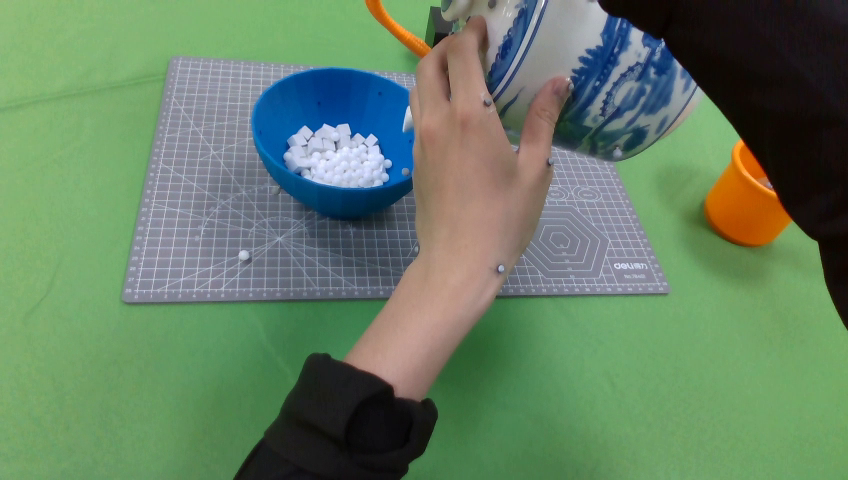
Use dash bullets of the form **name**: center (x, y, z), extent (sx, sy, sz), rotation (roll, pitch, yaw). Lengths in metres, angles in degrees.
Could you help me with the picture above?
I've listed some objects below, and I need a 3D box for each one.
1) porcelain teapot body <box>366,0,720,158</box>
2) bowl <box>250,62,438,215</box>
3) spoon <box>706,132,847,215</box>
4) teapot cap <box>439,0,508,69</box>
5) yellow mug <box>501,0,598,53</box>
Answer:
- **porcelain teapot body**: center (0.059, -0.133, 0.429), extent (0.227, 0.206, 0.144), rotation (11, 56, -21)
- **bowl**: center (-0.069, -0.074, 0.518), extent (0.152, 0.077, 0.150), rotation (6, 50, -7)
- **spoon**: center (0.367, -0.076, 0.576), extent (0.022, 0.193, 0.041), rotation (36, 33, -44)
- **teapot cap**: center (0.033, -0.155, 0.394), extent (0.044, 0.085, 0.084), rotation (8, 50, -20)
- **yellow mug**: center (0.133, -0.253, 0.653), extent (0.099, 0.064, 0.130), rotation (27, 53, 10)
